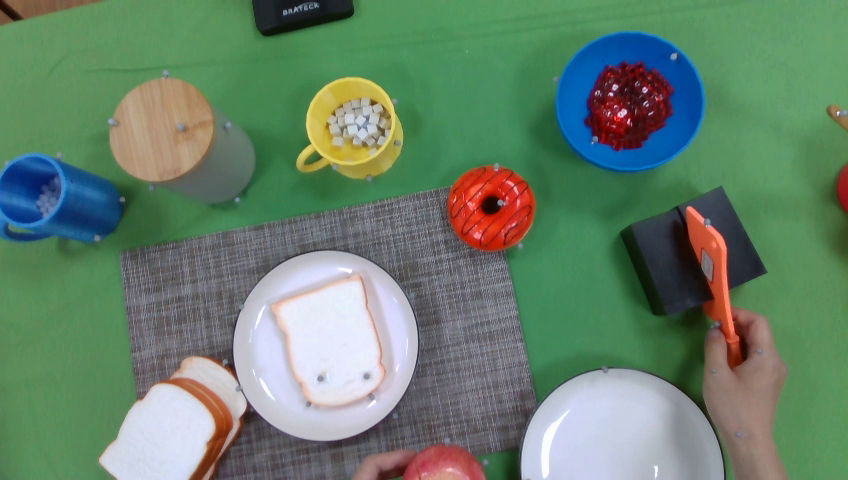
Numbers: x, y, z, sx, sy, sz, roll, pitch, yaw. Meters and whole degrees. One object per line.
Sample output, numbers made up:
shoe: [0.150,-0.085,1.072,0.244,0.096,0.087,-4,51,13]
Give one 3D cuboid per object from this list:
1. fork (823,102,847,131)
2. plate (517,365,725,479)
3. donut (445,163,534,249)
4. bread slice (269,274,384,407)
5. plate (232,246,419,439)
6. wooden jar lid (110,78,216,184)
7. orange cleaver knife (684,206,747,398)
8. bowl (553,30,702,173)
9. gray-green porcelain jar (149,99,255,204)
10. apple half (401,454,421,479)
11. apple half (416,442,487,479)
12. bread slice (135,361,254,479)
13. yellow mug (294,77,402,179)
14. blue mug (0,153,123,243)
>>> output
fork: [0.444,-0.085,0.597,0.209,0.018,0.028,24,82,-34]
plate: [0.201,0.235,0.634,0.209,0.038,0.208,-1,83,6]
donut: [0.072,-0.038,0.673,0.099,0.048,0.099,-1,84,5]
bread slice: [-0.100,0.115,0.673,0.107,0.018,0.133,-22,81,2]
plate: [-0.107,0.112,0.673,0.207,0.039,0.207,-1,83,5]
wooden jar lid: [-0.260,-0.108,0.610,0.108,0.021,0.108,-1,81,6]
orange cleaver knife: [0.299,0.066,0.624,0.012,0.076,0.213,-19,111,4]
bowl: [0.213,-0.139,0.660,0.151,0.077,0.151,-1,83,5]
gray-green porcelain jar: [-0.254,-0.099,0.671,0.106,0.127,0.105,-1,82,5]
apple half: [-0.004,0.241,0.563,0.033,0.081,0.081,-25,81,4]
apple half: [0.031,0.223,0.561,0.053,0.075,0.080,-25,75,2]
bread slice: [-0.243,0.203,0.672,0.105,0.019,0.131,23,84,0]
yellow mug: [-0.092,-0.117,0.690,0.131,0.064,0.099,-35,81,1]
blue mug: [-0.424,-0.035,0.688,0.116,0.106,0.082,-37,81,0]
